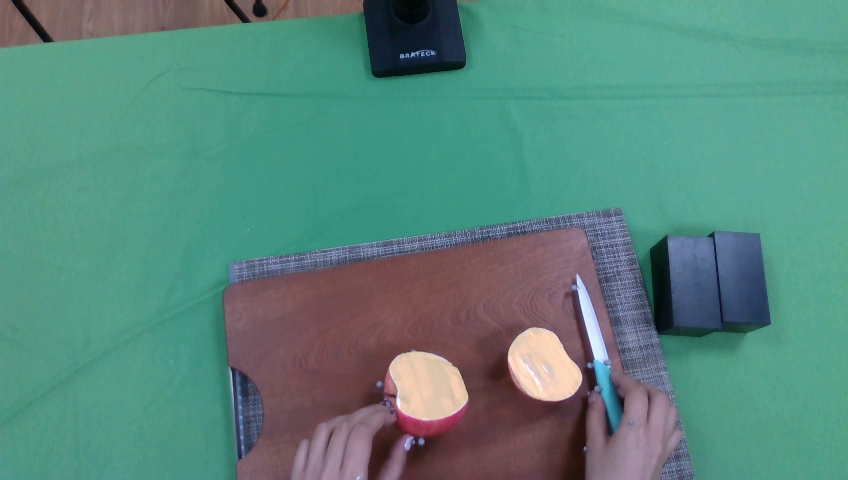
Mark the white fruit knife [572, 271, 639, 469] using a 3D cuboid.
[{"bbox_3d":[0.181,0.129,0.622,0.027,0.016,0.206,4,66,-39],"label":"white fruit knife"}]

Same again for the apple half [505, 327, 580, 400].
[{"bbox_3d":[0.111,0.129,0.607,0.081,0.033,0.080,12,52,-15],"label":"apple half"}]

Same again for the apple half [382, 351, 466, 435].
[{"bbox_3d":[-0.003,0.154,0.587,0.075,0.054,0.080,-3,42,-22],"label":"apple half"}]
